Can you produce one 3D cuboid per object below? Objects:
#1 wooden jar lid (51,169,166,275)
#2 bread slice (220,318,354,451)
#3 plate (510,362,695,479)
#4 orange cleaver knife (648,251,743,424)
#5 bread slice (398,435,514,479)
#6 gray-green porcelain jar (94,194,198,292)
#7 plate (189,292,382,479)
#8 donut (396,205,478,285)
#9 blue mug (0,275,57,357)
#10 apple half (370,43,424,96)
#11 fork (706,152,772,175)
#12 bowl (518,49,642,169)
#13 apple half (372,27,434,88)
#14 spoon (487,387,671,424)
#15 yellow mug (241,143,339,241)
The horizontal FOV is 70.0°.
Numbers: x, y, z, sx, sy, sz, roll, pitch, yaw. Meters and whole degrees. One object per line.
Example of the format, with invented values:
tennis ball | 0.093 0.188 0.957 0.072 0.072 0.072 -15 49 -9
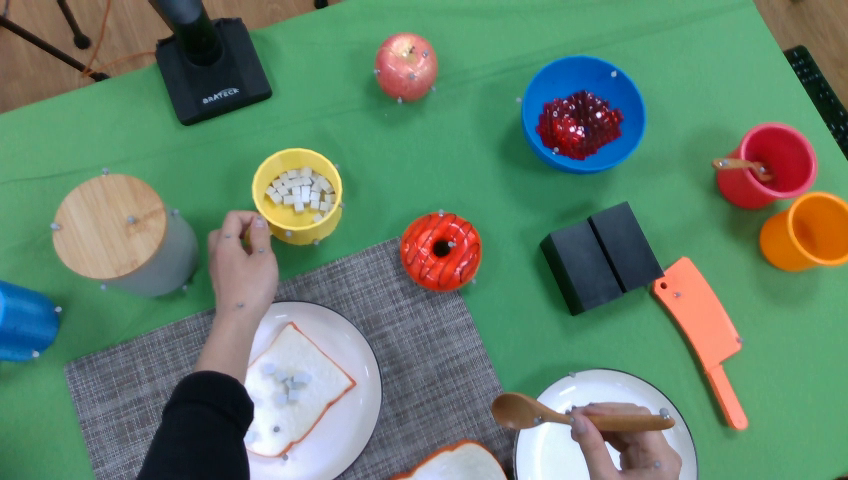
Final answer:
wooden jar lid | -0.310 -0.017 0.601 0.108 0.021 0.108 1 75 -2
bread slice | -0.158 0.168 0.675 0.104 0.019 0.131 41 77 6
plate | 0.198 0.244 0.685 0.209 0.038 0.208 1 77 -3
orange cleaver knife | 0.343 0.115 0.737 0.077 0.012 0.210 -20 77 -15
bread slice | 0.037 0.273 0.640 0.134 0.018 0.106 -26 75 -30
gray-green porcelain jar | -0.313 -0.001 0.661 0.106 0.127 0.105 1 76 -4
plate | -0.150 0.163 0.675 0.208 0.039 0.206 1 77 -4
donut | 0.016 0.006 0.721 0.099 0.048 0.098 1 77 -4
blue mug | -0.469 0.091 0.638 0.082 0.106 0.116 41 77 7
apple half | -0.040 -0.201 0.754 0.081 0.081 0.032 33 71 5
fork | 0.378 -0.093 0.722 0.208 0.018 0.028 -3 73 -48
bowl | 0.184 -0.150 0.757 0.151 0.077 0.150 1 77 -4
apple half | -0.020 -0.233 0.764 0.080 0.075 0.053 33 71 8
spoon | 0.124 0.148 0.522 0.021 0.193 0.042 -32 100 -34
yellow mug | -0.162 -0.045 0.709 0.100 0.064 0.130 45 75 5
